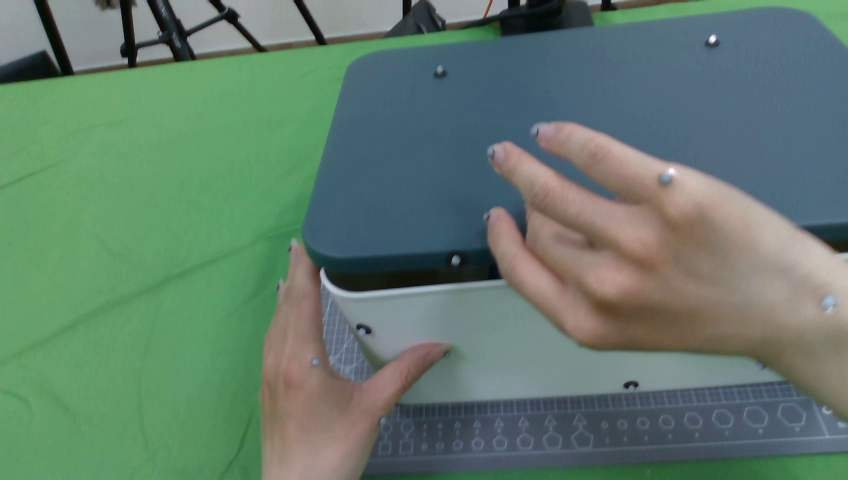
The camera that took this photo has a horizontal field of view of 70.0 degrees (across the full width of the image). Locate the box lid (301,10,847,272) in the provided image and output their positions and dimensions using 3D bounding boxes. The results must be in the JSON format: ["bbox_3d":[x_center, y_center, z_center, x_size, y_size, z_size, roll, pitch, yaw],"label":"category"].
[{"bbox_3d":[0.112,-0.083,0.409,0.371,0.015,0.260,-4,41,6],"label":"box lid"}]

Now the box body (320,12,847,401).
[{"bbox_3d":[0.127,-0.023,0.472,0.364,0.162,0.251,-5,47,6],"label":"box body"}]
